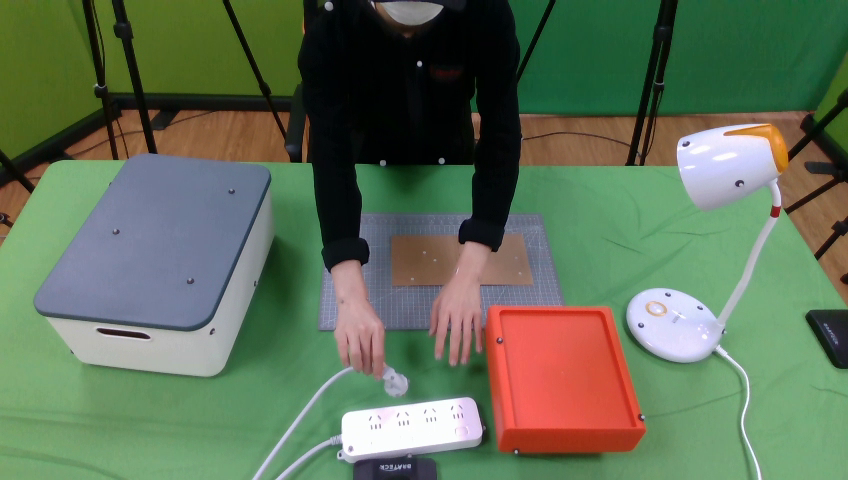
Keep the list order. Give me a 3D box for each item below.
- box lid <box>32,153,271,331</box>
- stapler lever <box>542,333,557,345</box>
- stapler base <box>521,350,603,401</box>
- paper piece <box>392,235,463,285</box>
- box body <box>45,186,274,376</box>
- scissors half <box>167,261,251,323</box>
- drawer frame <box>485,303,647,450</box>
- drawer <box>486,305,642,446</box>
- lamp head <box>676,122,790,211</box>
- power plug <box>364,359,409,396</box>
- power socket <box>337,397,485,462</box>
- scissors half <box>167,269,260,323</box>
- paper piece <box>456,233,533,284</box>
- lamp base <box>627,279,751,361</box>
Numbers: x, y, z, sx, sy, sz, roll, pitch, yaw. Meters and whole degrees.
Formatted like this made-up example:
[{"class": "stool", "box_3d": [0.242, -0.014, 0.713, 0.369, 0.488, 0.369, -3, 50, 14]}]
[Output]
[{"class": "box lid", "box_3d": [-0.417, -0.015, 0.980, 0.263, 0.015, 0.369, 6, 46, 1]}, {"class": "stapler lever", "box_3d": [0.225, 0.181, 0.928, 0.118, 0.040, 0.027, 27, 34, 15]}, {"class": "stapler base", "box_3d": [0.217, 0.203, 0.942, 0.130, 0.024, 0.041, 26, 33, 16]}, {"class": "paper piece", "box_3d": [0.006, 0.036, 1.170, 0.135, 0.004, 0.135, 1, 44, 0]}, {"class": "box body", "box_3d": [-0.421, 0.037, 1.031, 0.254, 0.161, 0.362, 6, 46, 1]}, {"class": "scissors half", "box_3d": [-0.383, 0.091, 1.080, 0.040, 0.013, 0.175, 25, 51, 31]}, {"class": "drawer frame", "box_3d": [0.204, 0.202, 0.917, 0.202, 0.083, 0.212, 1, 47, -4]}, {"class": "drawer", "box_3d": [0.202, 0.201, 0.919, 0.195, 0.073, 0.210, 1, 47, -4]}, {"class": "lamp head", "box_3d": [0.423, -0.104, 0.819, 0.122, 0.113, 0.112, -13, 33, 40]}, {"class": "power plug", "box_3d": [-0.052, 0.205, 0.913, 0.035, 0.053, 0.072, -35, 49, -20]}, {"class": "power socket", "box_3d": [-0.018, 0.285, 0.915, 0.227, 0.033, 0.071, -4, 46, -8]}, {"class": "scissors half", "box_3d": [-0.369, 0.101, 1.069, 0.175, 0.013, 0.040, -28, 51, -22]}, {"class": "paper piece", "box_3d": [0.136, 0.035, 1.182, 0.136, 0.009, 0.137, 2, 45, -6]}, {"class": "lamp base", "box_3d": [0.460, 0.100, 1.027, 0.178, 0.181, 0.160, 27, 51, 17]}]
